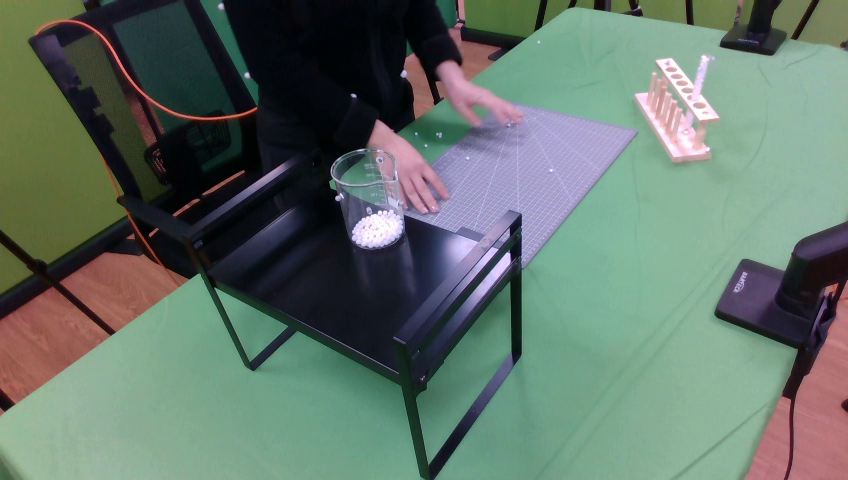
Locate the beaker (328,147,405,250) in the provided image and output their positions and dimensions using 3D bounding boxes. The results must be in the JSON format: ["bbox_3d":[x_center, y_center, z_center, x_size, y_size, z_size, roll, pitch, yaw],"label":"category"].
[{"bbox_3d":[-0.060,-0.045,0.699,0.083,0.101,0.074,19,47,27],"label":"beaker"}]

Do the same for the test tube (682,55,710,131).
[{"bbox_3d":[0.485,-0.259,1.080,0.017,0.151,0.017,-3,44,3],"label":"test tube"}]

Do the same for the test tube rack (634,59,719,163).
[{"bbox_3d":[0.470,-0.250,1.148,0.067,0.085,0.241,-6,40,3],"label":"test tube rack"}]
